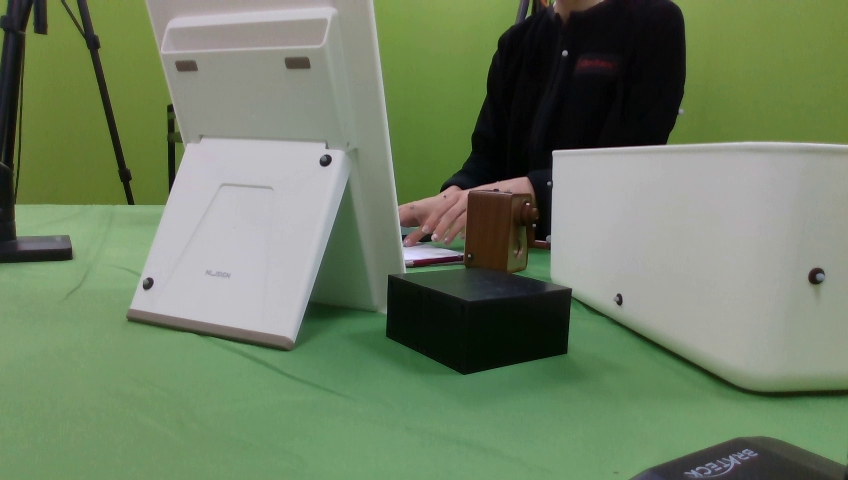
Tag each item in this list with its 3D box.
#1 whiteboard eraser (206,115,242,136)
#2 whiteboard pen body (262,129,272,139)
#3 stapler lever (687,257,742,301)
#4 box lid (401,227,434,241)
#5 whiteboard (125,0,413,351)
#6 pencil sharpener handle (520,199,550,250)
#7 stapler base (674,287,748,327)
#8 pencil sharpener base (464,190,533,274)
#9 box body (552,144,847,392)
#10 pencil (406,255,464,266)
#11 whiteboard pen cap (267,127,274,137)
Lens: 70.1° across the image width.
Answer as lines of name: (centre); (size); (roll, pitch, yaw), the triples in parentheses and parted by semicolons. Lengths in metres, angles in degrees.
whiteboard eraser: (-0.438, -0.249, 1.320); (0.056, 0.042, 0.112); (-3, 9, -30)
whiteboard pen body: (-0.361, -0.245, 1.393); (0.017, 0.017, 0.140); (0, 5, -20)
stapler lever: (0.283, 0.035, 0.585); (0.026, 0.040, 0.119); (10, 8, 37)
box lid: (-0.196, -0.015, 1.105); (0.373, 0.015, 0.262); (-1, 7, -32)
whiteboard: (-0.151, -0.050, 0.471); (0.216, 0.305, 0.144); (6, 27, 24)
pencil sharpener handle: (0.147, -0.019, 0.785); (0.030, 0.068, 0.036); (8, 26, 36)
stapler base: (0.281, 0.061, 0.586); (0.041, 0.024, 0.131); (10, 8, 37)
pencil sharpener base: (0.103, -0.012, 0.813); (0.076, 0.107, 0.061); (8, 9, 36)
box body: (0.290, 0.002, 0.549); (0.255, 0.160, 0.363); (2, 7, -10)
pencil: (0.041, 0.027, 0.850); (0.195, 0.012, 0.012); (-4, 10, -45)
whiteboard pen cap: (-0.340, -0.239, 1.338); (0.018, 0.018, 0.033); (1, -1, -15)
